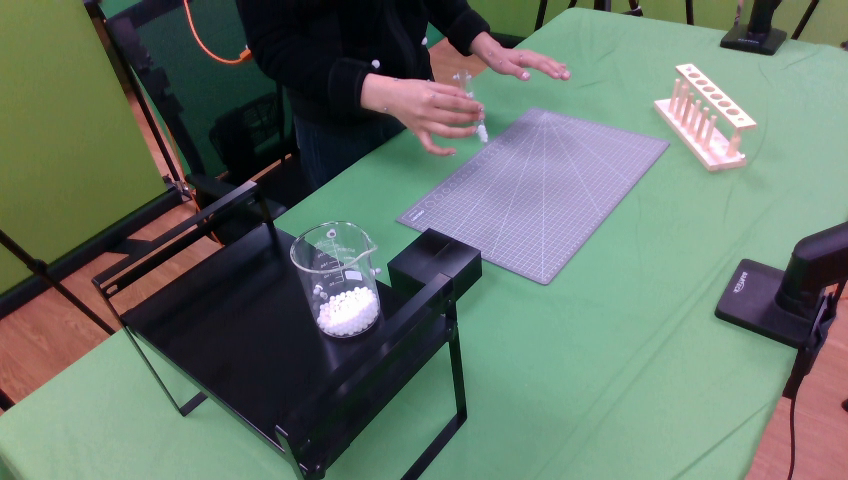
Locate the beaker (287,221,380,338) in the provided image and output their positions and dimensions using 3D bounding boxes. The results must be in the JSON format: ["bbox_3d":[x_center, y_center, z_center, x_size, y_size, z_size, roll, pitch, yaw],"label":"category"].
[{"bbox_3d":[-0.083,0.042,0.602,0.084,0.101,0.073,-5,41,3],"label":"beaker"}]

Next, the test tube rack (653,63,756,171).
[{"bbox_3d":[0.510,-0.233,1.120,0.067,0.085,0.241,-9,41,-1],"label":"test tube rack"}]

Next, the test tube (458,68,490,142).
[{"bbox_3d":[0.079,-0.204,0.934,0.017,0.151,0.017,-10,55,15],"label":"test tube"}]
